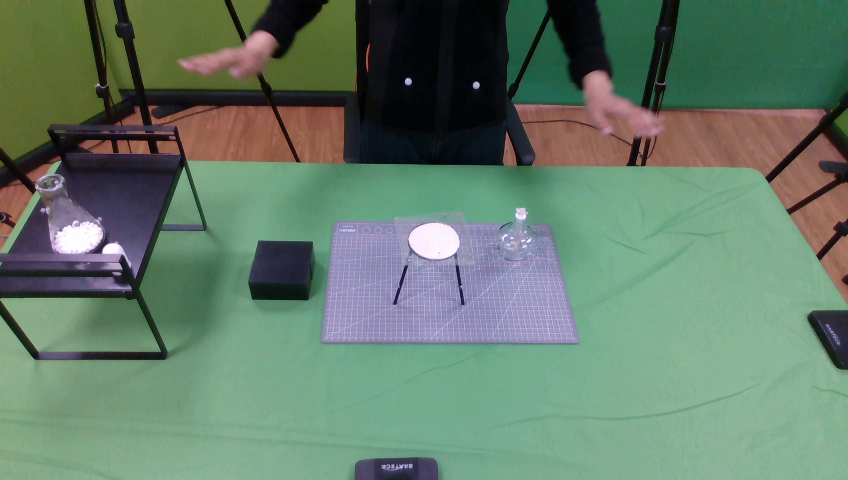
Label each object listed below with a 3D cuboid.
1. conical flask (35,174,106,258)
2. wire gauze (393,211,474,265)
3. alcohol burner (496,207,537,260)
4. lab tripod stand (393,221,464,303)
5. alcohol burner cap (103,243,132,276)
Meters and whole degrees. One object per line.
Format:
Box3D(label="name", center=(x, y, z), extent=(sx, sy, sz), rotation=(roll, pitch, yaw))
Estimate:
Box3D(label="conical flask", center=(-0.518, -0.038, 0.875), extent=(0.075, 0.122, 0.075), rotation=(2, 46, -2))
Box3D(label="wire gauze", center=(0.015, -0.003, 1.028), extent=(0.125, 0.011, 0.120), rotation=(-4, 47, -7))
Box3D(label="alcohol burner", center=(0.180, -0.018, 1.163), extent=(0.078, 0.120, 0.077), rotation=(1, 48, -1))
Box3D(label="lab tripod stand", center=(0.010, 0.045, 1.074), extent=(0.148, 0.132, 0.147), rotation=(2, 48, -2))
Box3D(label="alcohol burner cap", center=(-0.446, 0.025, 0.875), extent=(0.034, 0.048, 0.033), rotation=(3, 45, -3))
